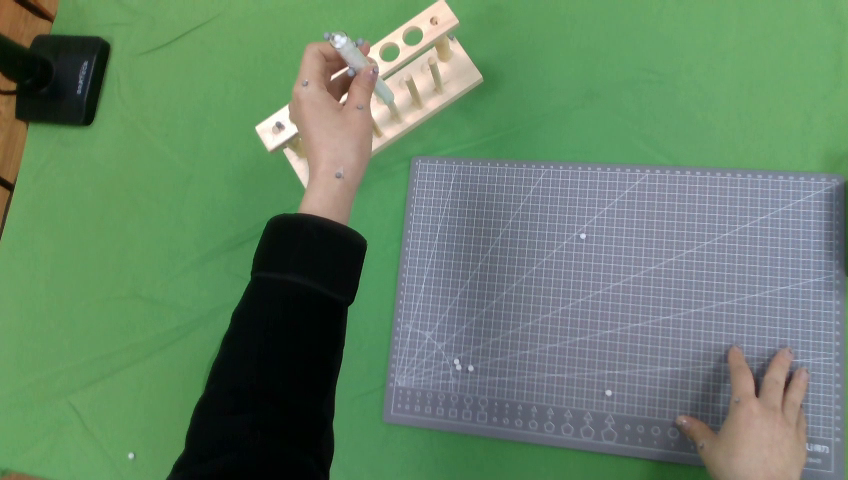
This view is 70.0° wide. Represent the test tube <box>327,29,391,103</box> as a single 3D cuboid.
[{"bbox_3d":[-0.053,-0.148,0.532,0.017,0.151,0.017,-1,86,11],"label":"test tube"}]

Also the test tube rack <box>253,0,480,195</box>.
[{"bbox_3d":[-0.060,-0.153,0.676,0.242,0.085,0.066,-33,75,4],"label":"test tube rack"}]
